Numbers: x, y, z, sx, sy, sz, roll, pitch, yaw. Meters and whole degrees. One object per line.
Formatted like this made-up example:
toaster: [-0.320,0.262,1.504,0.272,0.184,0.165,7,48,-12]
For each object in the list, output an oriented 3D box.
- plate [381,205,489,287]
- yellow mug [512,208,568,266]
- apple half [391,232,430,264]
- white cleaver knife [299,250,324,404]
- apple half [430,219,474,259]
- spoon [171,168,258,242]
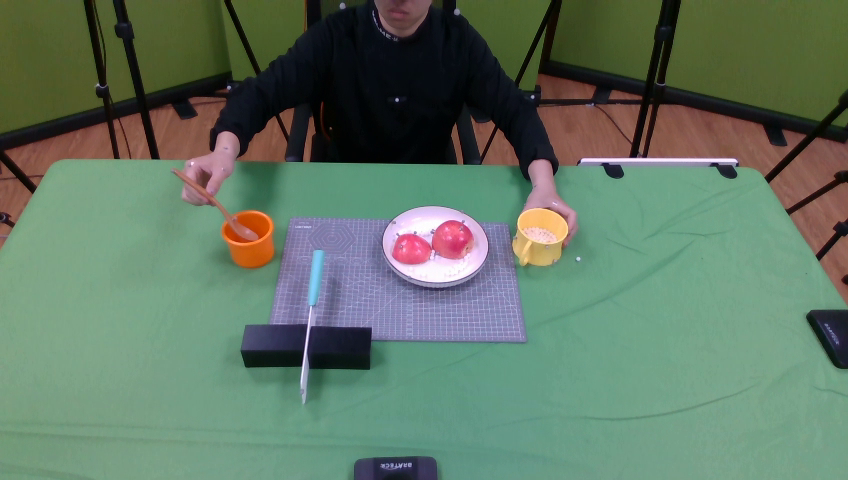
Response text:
plate: [0.021,0.015,1.170,0.209,0.038,0.208,2,46,-2]
yellow mug: [0.219,0.002,1.182,0.099,0.064,0.130,26,50,21]
apple half: [-0.024,0.009,1.163,0.081,0.033,0.081,2,43,-2]
white cleaver knife: [-0.194,0.134,1.019,0.021,0.066,0.284,5,50,-5]
apple half: [0.056,-0.007,1.172,0.081,0.053,0.074,-33,59,-31]
spoon: [-0.369,-0.061,1.073,0.021,0.195,0.041,-33,31,9]
